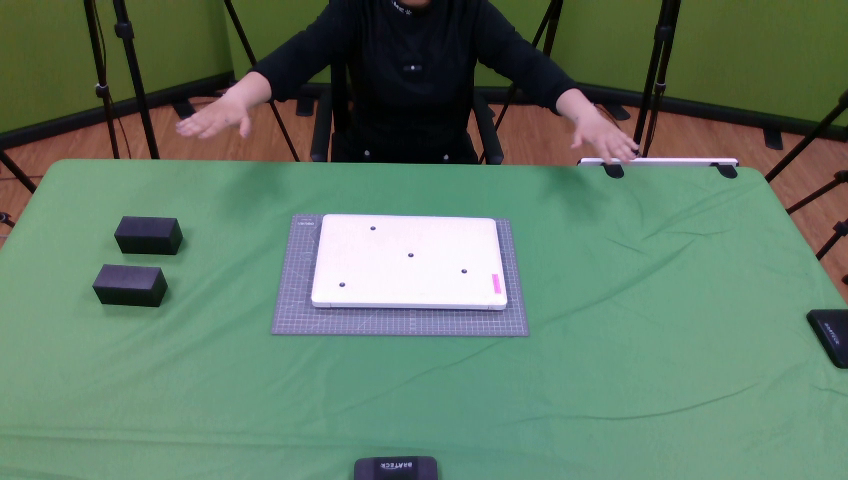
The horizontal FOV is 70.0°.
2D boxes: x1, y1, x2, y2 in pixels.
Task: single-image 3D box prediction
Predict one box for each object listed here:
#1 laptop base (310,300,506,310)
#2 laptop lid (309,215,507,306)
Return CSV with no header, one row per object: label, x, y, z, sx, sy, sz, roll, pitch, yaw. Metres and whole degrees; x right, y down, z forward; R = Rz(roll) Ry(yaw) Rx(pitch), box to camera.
laptop base,-0.029,0.043,1.156,0.354,0.023,0.234,1,42,-3
laptop lid,-0.028,0.033,1.149,0.357,0.013,0.240,3,44,-2
